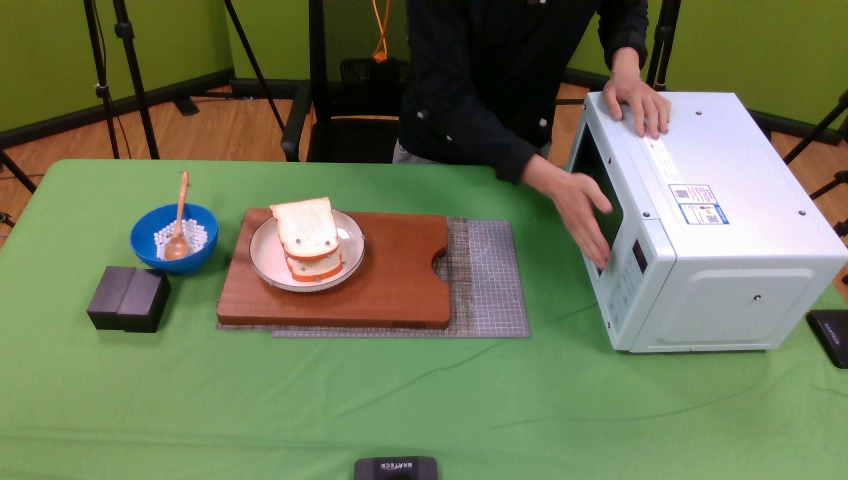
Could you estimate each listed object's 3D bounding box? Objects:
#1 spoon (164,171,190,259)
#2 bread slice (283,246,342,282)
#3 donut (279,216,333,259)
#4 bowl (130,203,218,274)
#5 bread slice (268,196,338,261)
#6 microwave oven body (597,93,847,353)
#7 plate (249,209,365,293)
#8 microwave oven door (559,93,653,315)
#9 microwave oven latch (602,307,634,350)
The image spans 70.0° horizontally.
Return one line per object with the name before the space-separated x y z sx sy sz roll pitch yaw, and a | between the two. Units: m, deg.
spoon | -0.452 -0.046 1.129 0.041 0.022 0.193 -1 69 -2
bread slice | -0.205 0.024 1.115 0.105 0.019 0.130 -13 46 -14
donut | -0.213 -0.005 1.097 0.099 0.048 0.098 -2 41 2
bowl | -0.450 0.010 1.116 0.151 0.077 0.150 2 45 -2
bread slice | -0.207 -0.020 1.071 0.107 0.018 0.133 -14 55 -18
microwave oven body | 0.475 -0.041 1.110 0.326 0.261 0.438 -1 45 -4
plate | -0.213 0.021 1.113 0.208 0.039 0.206 3 45 -2
microwave oven door | 0.327 -0.074 1.123 0.039 0.245 0.353 -1 46 -5
microwave oven latch | 0.332 0.153 1.044 0.030 0.029 0.078 -1 45 -4
